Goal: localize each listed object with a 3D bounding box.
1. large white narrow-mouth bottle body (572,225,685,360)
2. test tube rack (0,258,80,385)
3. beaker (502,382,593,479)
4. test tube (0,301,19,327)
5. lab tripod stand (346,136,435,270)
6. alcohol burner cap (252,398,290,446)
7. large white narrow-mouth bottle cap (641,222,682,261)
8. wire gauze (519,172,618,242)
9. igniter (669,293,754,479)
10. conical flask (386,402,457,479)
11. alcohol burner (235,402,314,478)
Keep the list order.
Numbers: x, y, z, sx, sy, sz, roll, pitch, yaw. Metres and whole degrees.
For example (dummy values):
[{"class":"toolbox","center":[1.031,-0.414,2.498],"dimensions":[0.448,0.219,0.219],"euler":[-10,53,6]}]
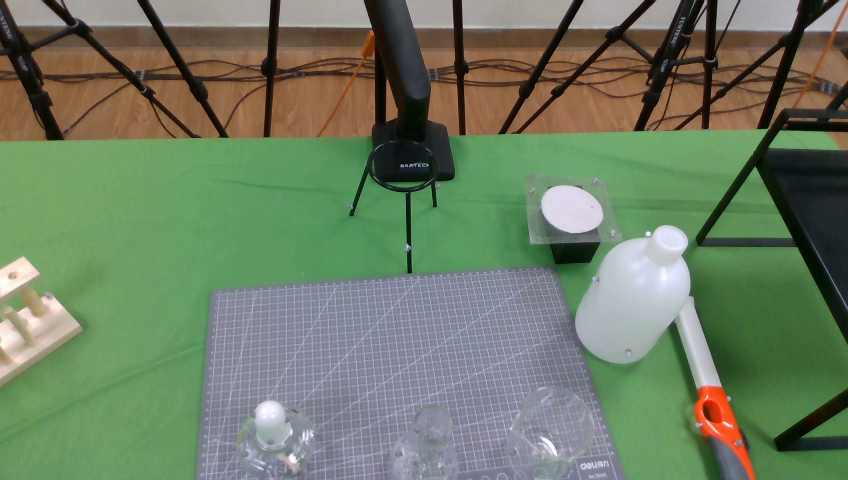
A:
[{"class":"large white narrow-mouth bottle body","center":[0.241,0.055,0.700],"dimensions":[0.102,0.196,0.101],"euler":[3,52,-3]},{"class":"test tube rack","center":[-0.502,0.130,0.627],"dimensions":[0.066,0.086,0.242],"euler":[37,57,20]},{"class":"beaker","center":[0.121,0.204,0.629],"dimensions":[0.084,0.101,0.073],"euler":[-6,53,-10]},{"class":"test tube","center":[-0.466,0.048,0.631],"dimensions":[0.017,0.151,0.017],"euler":[1,51,0]},{"class":"lab tripod stand","center":[-0.034,-0.055,0.792],"dimensions":[0.148,0.132,0.147],"euler":[4,53,-5]},{"class":"alcohol burner cap","center":[-0.146,0.169,0.571],"dimensions":[0.034,0.048,0.033],"euler":[2,47,-1]},{"class":"large white narrow-mouth bottle cap","center":[0.247,0.001,0.633],"dimensions":[0.038,0.024,0.037],"euler":[3,52,-3]},{"class":"wire gauze","center":[0.194,-0.046,0.828],"dimensions":[0.121,0.011,0.124],"euler":[3,52,-4]},{"class":"igniter","center":[0.336,0.182,0.720],"dimensions":[0.057,0.025,0.273],"euler":[8,51,-13]},{"class":"conical flask","center":[0.001,0.202,0.602],"dimensions":[0.075,0.123,0.074],"euler":[3,52,-3]},{"class":"alcohol burner","center":[-0.149,0.191,0.600],"dimensions":[0.078,0.120,0.077],"euler":[4,51,-5]}]
